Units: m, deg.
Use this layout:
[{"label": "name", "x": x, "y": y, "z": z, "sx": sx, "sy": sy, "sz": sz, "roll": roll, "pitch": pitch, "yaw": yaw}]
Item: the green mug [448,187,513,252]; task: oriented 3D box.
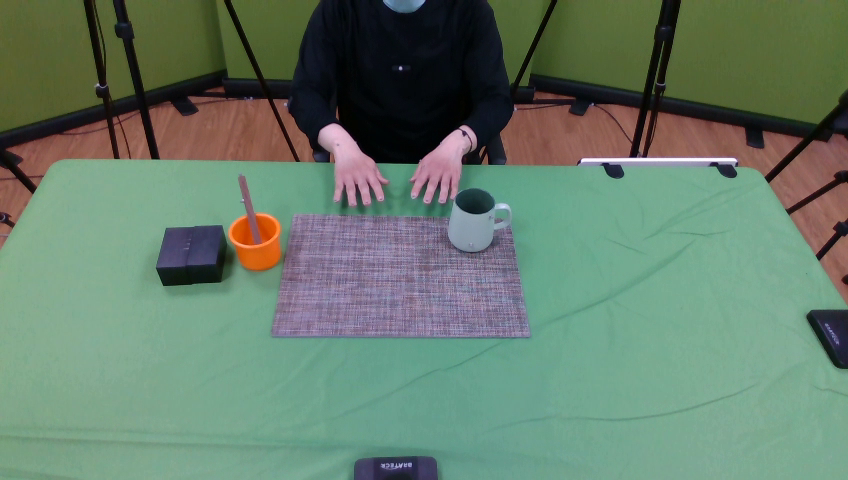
[{"label": "green mug", "x": 0.111, "y": -0.041, "z": 1.179, "sx": 0.125, "sy": 0.105, "sz": 0.092, "roll": -7, "pitch": 47, "yaw": -10}]

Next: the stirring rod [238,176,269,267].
[{"label": "stirring rod", "x": -0.318, "y": -0.035, "z": 1.127, "sx": 0.014, "sy": 0.006, "sz": 0.176, "roll": -15, "pitch": 90, "yaw": -13}]
